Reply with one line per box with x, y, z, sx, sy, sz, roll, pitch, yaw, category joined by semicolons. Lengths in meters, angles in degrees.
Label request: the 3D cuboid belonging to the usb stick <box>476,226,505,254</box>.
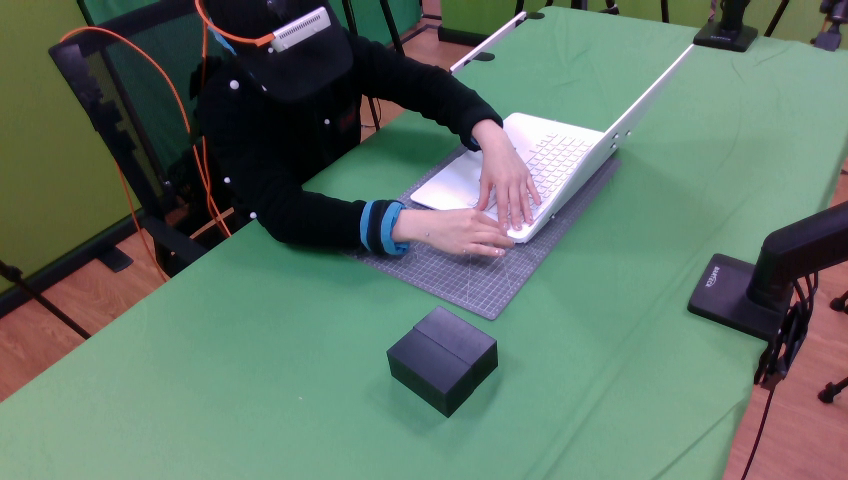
0.108;-0.003;0.934;0.021;0.027;0.059;32;41;28;usb stick

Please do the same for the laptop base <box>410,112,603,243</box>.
0.171;-0.127;1.096;0.233;0.023;0.355;22;48;33;laptop base

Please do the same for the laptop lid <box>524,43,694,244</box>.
0.290;-0.150;0.942;0.013;0.241;0.358;40;54;12;laptop lid
